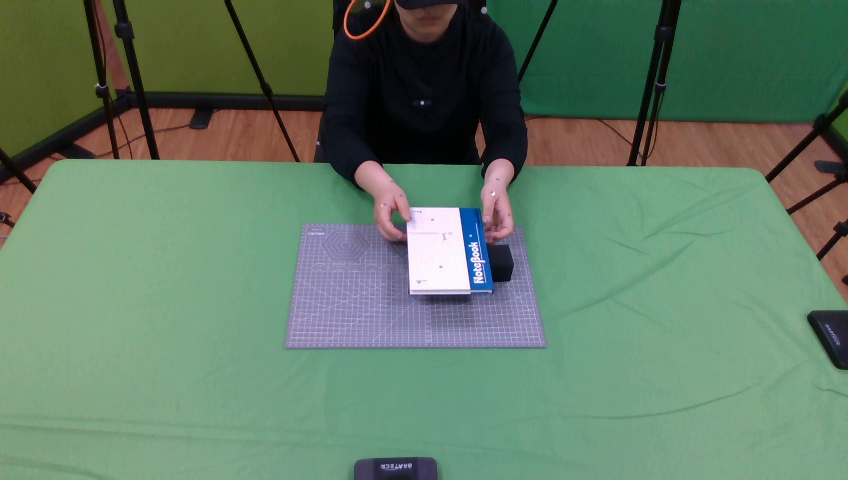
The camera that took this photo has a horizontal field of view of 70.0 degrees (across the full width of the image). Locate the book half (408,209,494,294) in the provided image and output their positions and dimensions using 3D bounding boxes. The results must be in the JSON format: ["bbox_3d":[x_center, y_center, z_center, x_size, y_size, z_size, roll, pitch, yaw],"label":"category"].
[{"bbox_3d":[0.042,0.016,1.119,0.149,0.016,0.209,0,46,-5],"label":"book half"}]

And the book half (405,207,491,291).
[{"bbox_3d":[0.039,0.012,1.113,0.143,0.007,0.208,0,46,-5],"label":"book half"}]
